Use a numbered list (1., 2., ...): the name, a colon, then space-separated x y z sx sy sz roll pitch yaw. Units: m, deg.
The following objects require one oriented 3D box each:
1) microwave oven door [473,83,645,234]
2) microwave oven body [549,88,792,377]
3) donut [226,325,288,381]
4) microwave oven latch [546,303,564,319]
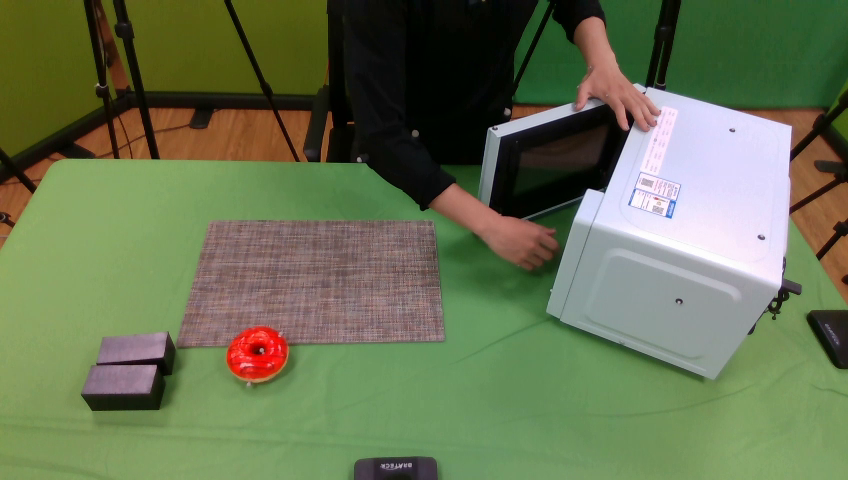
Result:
1. microwave oven door: 0.266 -0.161 1.196 0.356 0.245 0.039 -20 51 -22
2. microwave oven body: 0.456 -0.028 1.088 0.325 0.261 0.440 20 47 16
3. donut: -0.270 0.182 0.984 0.099 0.048 0.098 5 49 -5
4. microwave oven latch: 0.242 0.102 1.081 0.030 0.029 0.079 22 48 17
